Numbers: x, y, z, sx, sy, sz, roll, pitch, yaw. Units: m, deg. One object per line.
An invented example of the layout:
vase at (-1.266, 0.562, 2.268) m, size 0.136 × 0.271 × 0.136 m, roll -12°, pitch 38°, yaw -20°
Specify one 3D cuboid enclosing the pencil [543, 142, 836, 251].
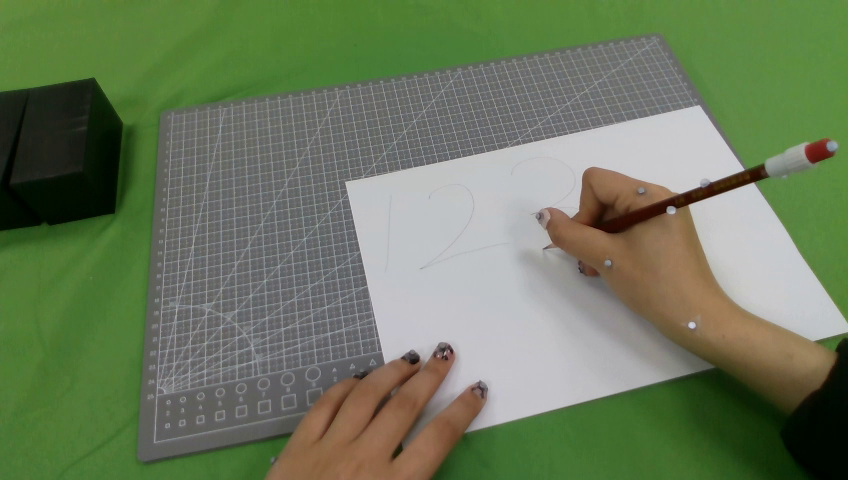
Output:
pencil at (0.133, -0.016, 0.350) m, size 0.012 × 0.193 × 0.012 m, roll 9°, pitch 71°, yaw -29°
